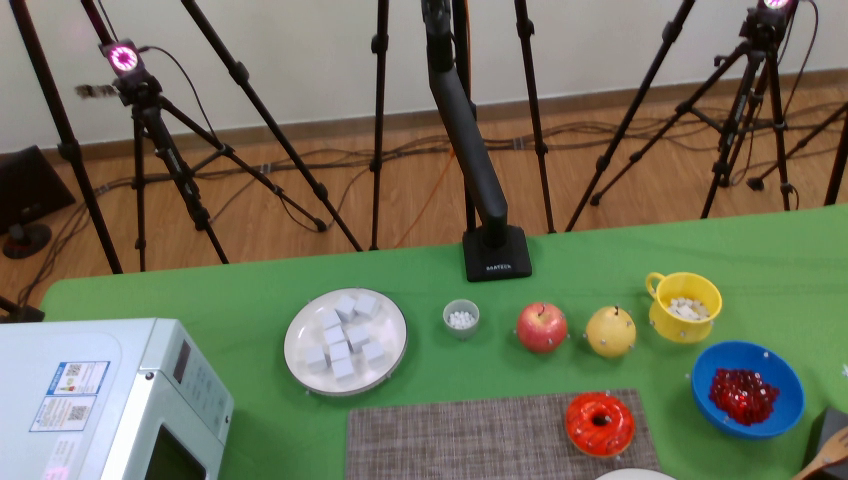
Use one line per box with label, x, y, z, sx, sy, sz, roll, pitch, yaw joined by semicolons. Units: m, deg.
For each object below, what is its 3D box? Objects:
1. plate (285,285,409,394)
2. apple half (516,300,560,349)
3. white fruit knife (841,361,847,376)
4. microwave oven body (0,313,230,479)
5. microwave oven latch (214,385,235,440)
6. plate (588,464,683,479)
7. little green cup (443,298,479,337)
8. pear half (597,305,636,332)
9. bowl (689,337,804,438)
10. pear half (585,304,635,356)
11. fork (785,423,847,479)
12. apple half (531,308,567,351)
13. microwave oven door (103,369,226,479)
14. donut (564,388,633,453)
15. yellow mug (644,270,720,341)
plate;-0.127;0.169;1.022;0.207;0.039;0.205;-3;49;4
apple half;0.181;0.134;0.996;0.081;0.075;0.053;-39;53;-21
white fruit knife;0.614;0.254;0.820;0.027;0.016;0.205;17;45;-18
microwave oven body;-0.471;0.344;0.755;0.326;0.263;0.437;-2;50;3
microwave oven latch;-0.313;0.266;0.933;0.030;0.030;0.078;-1;50;4
plate;0.283;0.396;0.779;0.209;0.038;0.207;-3;49;3
little green cup;0.064;0.134;1.031;0.061;0.039;0.061;-3;49;4
pear half;0.312;0.125;0.979;0.070;0.089;0.031;17;54;25
bowl;0.458;0.227;0.885;0.151;0.077;0.150;-3;50;4
pear half;0.291;0.142;0.953;0.076;0.111;0.056;18;53;26
fork;0.496;0.311;0.802;0.207;0.019;0.028;-39;62;1
apple half;0.208;0.153;0.976;0.081;0.082;0.032;-37;52;-23
microwave oven door;-0.326;0.366;0.714;0.039;0.246;0.352;-3;49;4
donut;0.255;0.265;0.890;0.099;0.049;0.098;-4;50;5
yellow mug;0.417;0.098;1.006;0.100;0.064;0.129;-31;52;-18
